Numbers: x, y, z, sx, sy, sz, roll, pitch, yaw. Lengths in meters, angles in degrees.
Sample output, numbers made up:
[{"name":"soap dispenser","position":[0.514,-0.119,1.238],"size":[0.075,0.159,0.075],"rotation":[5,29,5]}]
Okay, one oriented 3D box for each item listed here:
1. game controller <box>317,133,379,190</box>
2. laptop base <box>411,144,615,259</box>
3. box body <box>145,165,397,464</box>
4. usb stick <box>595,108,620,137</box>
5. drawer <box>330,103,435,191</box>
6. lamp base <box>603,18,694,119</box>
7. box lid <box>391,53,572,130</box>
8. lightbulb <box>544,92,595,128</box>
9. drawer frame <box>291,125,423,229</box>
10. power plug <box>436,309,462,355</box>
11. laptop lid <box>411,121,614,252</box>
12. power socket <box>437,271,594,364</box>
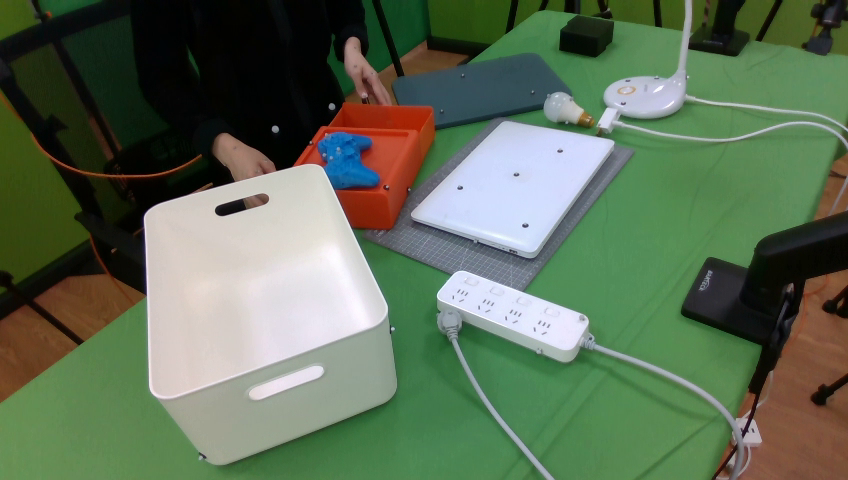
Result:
[{"name":"game controller","position":[-0.133,-0.140,1.030],"size":[0.097,0.052,0.154],"rotation":[-13,39,-1]},{"name":"laptop base","position":[0.167,-0.102,1.074],"size":[0.234,0.023,0.355],"rotation":[17,45,30]},{"name":"box body","position":[-0.205,0.080,0.802],"size":[0.255,0.161,0.361],"rotation":[-18,41,-13]},{"name":"usb stick","position":[0.355,-0.225,1.175],"size":[0.027,0.022,0.059],"rotation":[29,85,41]},{"name":"drawer","position":[-0.099,-0.182,1.161],"size":[0.194,0.073,0.211],"rotation":[6,41,14]},{"name":"lamp base","position":[0.460,-0.355,1.204],"size":[0.179,0.181,0.160],"rotation":[2,41,7]},{"name":"box lid","position":[0.122,-0.339,1.366],"size":[0.372,0.015,0.261],"rotation":[-12,40,-5]},{"name":"lightbulb","position":[0.293,-0.256,1.215],"size":[0.107,0.059,0.059],"rotation":[30,51,16]},{"name":"drawer frame","position":[-0.124,-0.119,1.085],"size":[0.201,0.083,0.213],"rotation":[5,41,13]},{"name":"power plug","position":[0.032,0.126,0.809],"size":[0.035,0.053,0.072],"rotation":[3,59,7]},{"name":"laptop lid","position":[0.164,-0.112,1.068],"size":[0.240,0.013,0.357],"rotation":[19,46,30]},{"name":"power socket","position":[0.118,0.102,0.830],"size":[0.225,0.033,0.072],"rotation":[20,48,28]}]
